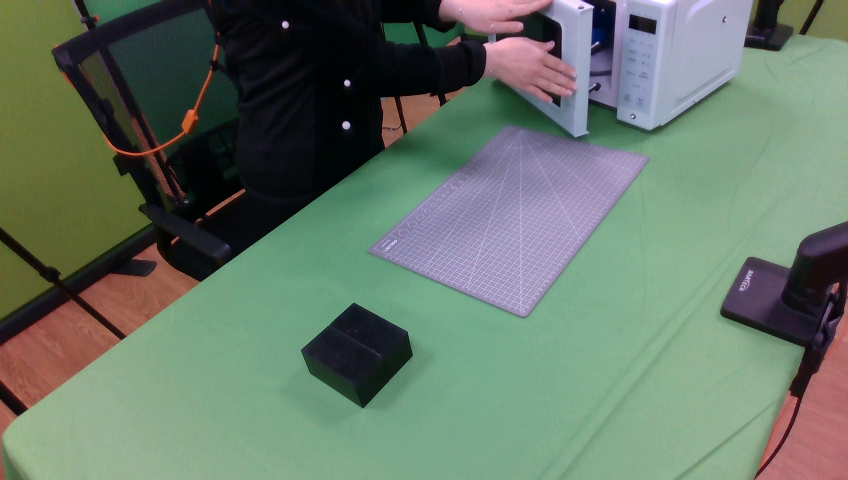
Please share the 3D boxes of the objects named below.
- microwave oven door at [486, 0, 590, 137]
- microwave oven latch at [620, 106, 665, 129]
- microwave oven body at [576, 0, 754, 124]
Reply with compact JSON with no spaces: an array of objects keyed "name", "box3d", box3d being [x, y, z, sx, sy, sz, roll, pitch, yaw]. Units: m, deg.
[{"name":"microwave oven door","box3d":[0.220,-0.389,1.205,0.039,0.245,0.352,-21,41,-12]},{"name":"microwave oven latch","box3d":[0.413,-0.237,1.146,0.030,0.029,0.078,-32,44,-23]},{"name":"microwave oven body","box3d":[0.402,-0.458,1.259,0.327,0.261,0.437,-33,45,-24]}]
